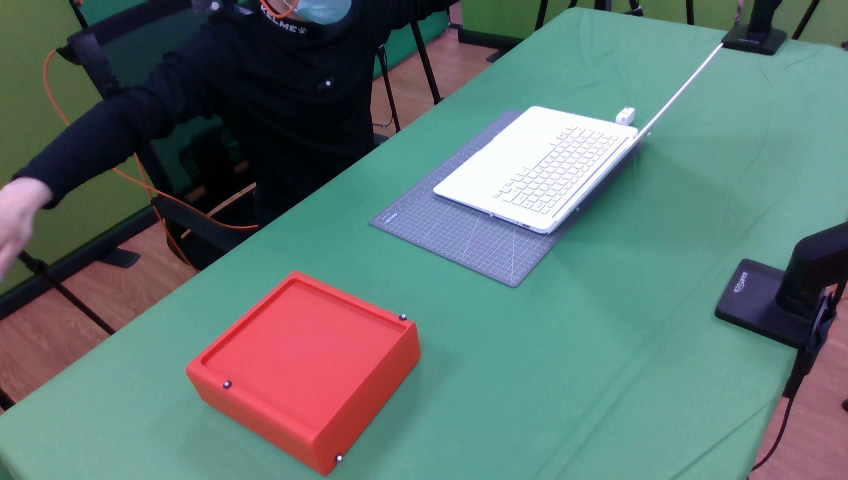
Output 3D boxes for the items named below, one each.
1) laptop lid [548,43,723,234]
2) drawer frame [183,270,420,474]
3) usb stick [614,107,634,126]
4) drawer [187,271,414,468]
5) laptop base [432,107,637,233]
[{"bbox_3d":[0.335,-0.160,0.955,0.013,0.241,0.358,42,54,8],"label":"laptop lid"},{"bbox_3d":[-0.149,0.153,0.767,0.212,0.083,0.202,20,46,27],"label":"drawer frame"},{"bbox_3d":[0.385,-0.234,1.174,0.021,0.027,0.059,22,47,30],"label":"usb stick"},{"bbox_3d":[-0.150,0.154,0.768,0.210,0.073,0.195,20,46,28],"label":"drawer"},{"bbox_3d":[0.210,-0.142,1.111,0.233,0.023,0.355,21,48,33],"label":"laptop base"}]
